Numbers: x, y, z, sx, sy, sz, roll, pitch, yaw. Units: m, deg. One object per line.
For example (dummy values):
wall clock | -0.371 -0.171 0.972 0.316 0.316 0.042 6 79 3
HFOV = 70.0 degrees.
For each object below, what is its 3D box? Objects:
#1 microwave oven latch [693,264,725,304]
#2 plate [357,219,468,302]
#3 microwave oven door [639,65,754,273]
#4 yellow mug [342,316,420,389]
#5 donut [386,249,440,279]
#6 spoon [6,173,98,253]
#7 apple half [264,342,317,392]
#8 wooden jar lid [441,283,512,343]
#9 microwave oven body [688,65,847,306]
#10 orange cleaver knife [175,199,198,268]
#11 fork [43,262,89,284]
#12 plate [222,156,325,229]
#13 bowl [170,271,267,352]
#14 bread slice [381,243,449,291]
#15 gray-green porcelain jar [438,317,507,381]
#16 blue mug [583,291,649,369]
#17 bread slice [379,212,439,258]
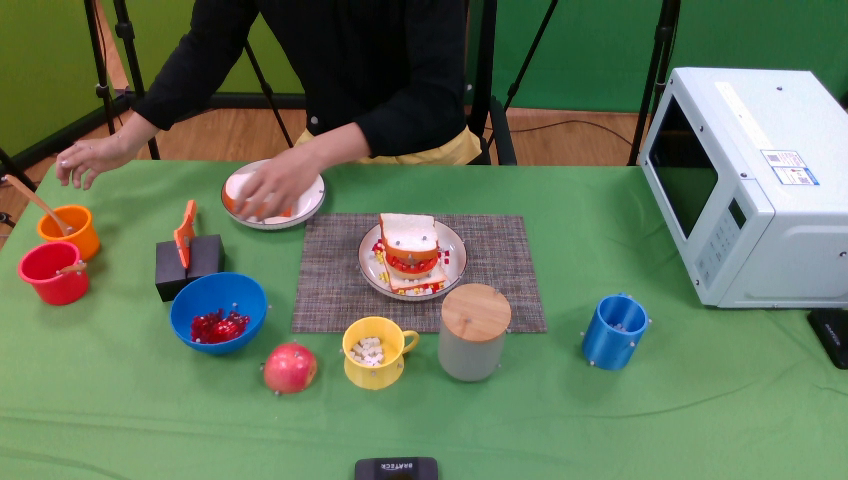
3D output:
microwave oven latch | 0.522 0.081 1.115 0.030 0.029 0.078 2 46 -1
plate | -0.022 0.037 1.141 0.208 0.039 0.206 2 46 -2
microwave oven door | 0.522 -0.147 1.192 0.039 0.245 0.353 0 47 -3
yellow mug | -0.067 0.178 0.990 0.131 0.064 0.099 -16 49 -19
donut | -0.021 0.029 1.110 0.099 0.048 0.098 2 46 -2
spoon | -0.678 -0.050 1.106 0.021 0.194 0.041 -19 27 43
apple half | -0.214 0.198 0.970 0.074 0.053 0.080 19 47 11
wooden jar lid | 0.080 0.114 0.931 0.108 0.021 0.107 1 49 -1
microwave oven body | 0.669 -0.111 1.176 0.326 0.261 0.439 0 46 -3
orange cleaver knife | -0.438 -0.017 1.138 0.012 0.077 0.210 -14 27 -7
fork | -0.599 0.053 1.014 0.207 0.019 0.028 -14 29 45
plate | -0.308 -0.095 1.251 0.209 0.038 0.208 3 46 -2
bowl | -0.333 0.132 1.006 0.151 0.077 0.150 2 46 -2
bread slice | -0.027 0.038 1.139 0.107 0.018 0.133 -12 46 -16
gray-green porcelain jar | 0.076 0.158 0.977 0.106 0.127 0.105 2 47 -2
blue mug | 0.324 0.142 1.023 0.082 0.106 0.116 15 47 11
bread slice | -0.024 -0.011 1.064 0.105 0.019 0.130 3 33 -10
